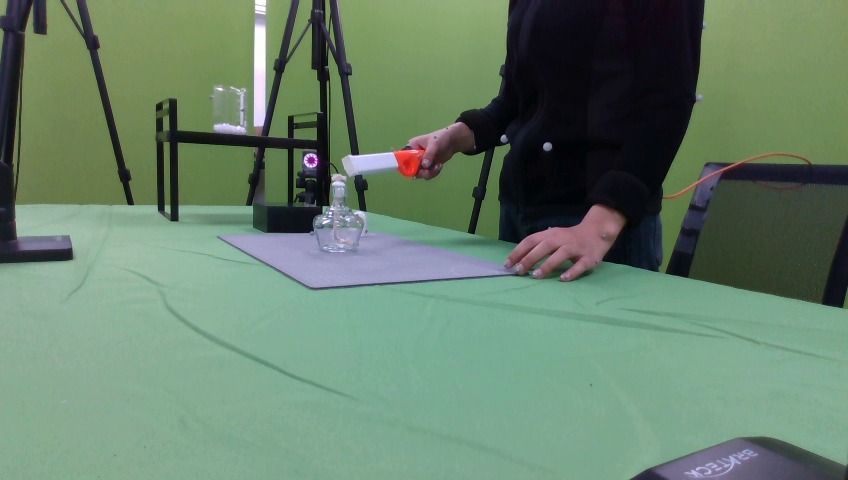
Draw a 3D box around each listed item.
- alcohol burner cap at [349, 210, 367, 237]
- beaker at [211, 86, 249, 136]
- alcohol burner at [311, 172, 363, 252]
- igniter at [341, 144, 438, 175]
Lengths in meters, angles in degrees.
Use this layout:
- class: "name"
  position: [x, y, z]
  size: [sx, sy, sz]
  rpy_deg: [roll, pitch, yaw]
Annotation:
- class: "alcohol burner cap"
  position: [-0.118, -0.030, 1.095]
  size: [0.034, 0.048, 0.034]
  rpy_deg: [2, 8, 0]
- class: "beaker"
  position: [-0.413, -0.274, 1.297]
  size: [0.074, 0.100, 0.083]
  rpy_deg: [-5, 11, -44]
- class: "alcohol burner"
  position: [-0.130, -0.042, 0.906]
  size: [0.078, 0.119, 0.078]
  rpy_deg: [2, 5, 0]
- class: "igniter"
  position: [-0.049, -0.136, 1.037]
  size: [0.025, 0.057, 0.278]
  rpy_deg: [-23, -2, 31]
